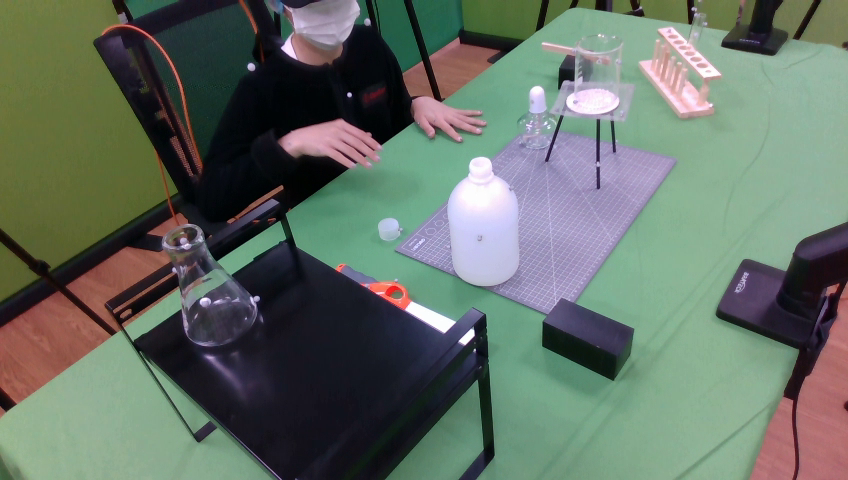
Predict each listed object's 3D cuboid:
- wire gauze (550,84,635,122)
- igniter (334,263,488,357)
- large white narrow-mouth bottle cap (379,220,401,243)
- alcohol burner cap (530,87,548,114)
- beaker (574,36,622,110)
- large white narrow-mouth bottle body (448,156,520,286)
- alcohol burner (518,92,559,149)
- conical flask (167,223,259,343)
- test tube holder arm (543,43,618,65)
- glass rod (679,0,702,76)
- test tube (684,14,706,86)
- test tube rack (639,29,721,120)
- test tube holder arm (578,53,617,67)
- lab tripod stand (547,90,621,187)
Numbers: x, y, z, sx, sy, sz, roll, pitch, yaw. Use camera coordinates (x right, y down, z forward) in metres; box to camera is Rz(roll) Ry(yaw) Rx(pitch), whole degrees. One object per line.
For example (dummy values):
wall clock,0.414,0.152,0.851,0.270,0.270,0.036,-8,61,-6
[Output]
wire gauze,0.285,-0.234,1.021,0.124,0.011,0.121,8,41,23
igniter,-0.030,0.095,0.872,0.274,0.025,0.057,23,60,31
large white narrow-mouth bottle cap,-0.057,-0.015,1.011,0.038,0.024,0.037,-4,40,4
alcohol burner cap,0.212,-0.262,1.126,0.034,0.048,0.033,-9,36,7
beaker,0.285,-0.273,0.990,0.073,0.101,0.084,15,46,27
large white narrow-mouth bottle body,0.086,-0.032,0.869,0.102,0.195,0.101,-4,40,4
alcohol burner,0.218,-0.235,1.149,0.078,0.119,0.077,-5,43,5
conical flask,-0.220,0.041,0.613,0.075,0.122,0.075,-5,40,4
test tube holder arm,0.345,-0.413,1.341,0.177,0.015,0.013,25,50,31
glass rod,0.543,-0.417,1.233,0.008,0.200,0.008,1,39,0
test tube,0.540,-0.378,1.215,0.017,0.151,0.017,-2,44,3
test tube rack,0.527,-0.351,1.262,0.067,0.085,0.241,-8,40,1
test tube holder arm,0.376,-0.393,1.314,0.087,0.015,0.010,26,51,32
lab tripod stand,0.289,-0.184,1.062,0.148,0.132,0.147,-6,41,6
